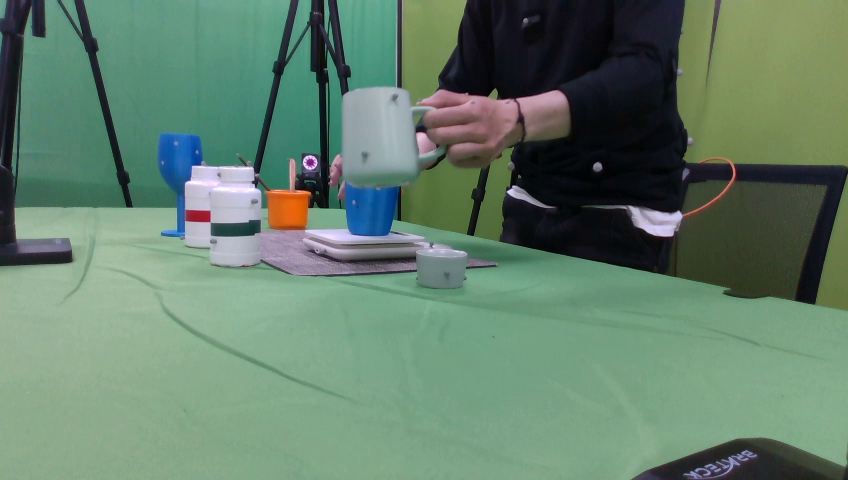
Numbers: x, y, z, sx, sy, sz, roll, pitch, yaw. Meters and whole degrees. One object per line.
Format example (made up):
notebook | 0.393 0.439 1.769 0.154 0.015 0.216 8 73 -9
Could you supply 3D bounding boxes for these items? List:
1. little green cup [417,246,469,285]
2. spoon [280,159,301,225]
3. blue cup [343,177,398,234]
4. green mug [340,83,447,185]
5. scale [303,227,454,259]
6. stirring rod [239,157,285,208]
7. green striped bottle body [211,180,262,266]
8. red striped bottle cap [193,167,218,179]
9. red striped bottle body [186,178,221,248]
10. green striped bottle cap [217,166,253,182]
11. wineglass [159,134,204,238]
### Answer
little green cup | 0.021 0.029 0.701 0.061 0.038 0.061 1 6 0
spoon | -0.273 -0.102 1.252 0.042 0.193 0.021 7 -38 -17
blue cup | -0.079 -0.061 0.883 0.093 0.100 0.092 3 5 0
green mug | -0.036 -0.120 0.697 0.125 0.105 0.092 -5 1 2
scale | -0.066 0.001 0.906 0.202 0.031 0.148 -2 8 -31
stirring rod | -0.309 -0.098 1.209 0.006 0.177 0.014 -38 29 -3
green striped bottle body | -0.243 -0.029 0.784 0.063 0.119 0.063 2 7 0
red striped bottle cap | -0.329 -0.103 0.921 0.044 0.017 0.044 0 9 0
red striped bottle body | -0.331 -0.050 0.927 0.063 0.119 0.063 2 6 0
green striped bottle cap | -0.242 -0.085 0.776 0.044 0.020 0.044 1 7 0
wineglass | -0.415 -0.093 1.039 0.074 0.172 0.073 2 8 0
